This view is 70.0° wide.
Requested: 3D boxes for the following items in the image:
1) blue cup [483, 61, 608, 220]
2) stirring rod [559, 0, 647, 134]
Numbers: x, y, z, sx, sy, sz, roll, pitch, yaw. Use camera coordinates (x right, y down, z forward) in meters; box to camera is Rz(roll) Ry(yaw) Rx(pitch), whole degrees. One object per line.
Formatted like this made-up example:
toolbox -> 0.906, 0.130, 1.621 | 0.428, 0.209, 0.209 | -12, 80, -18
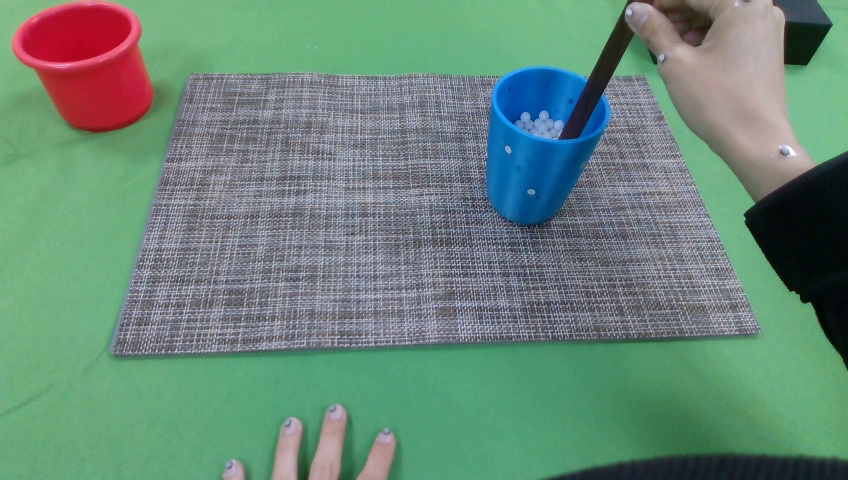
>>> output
blue cup -> 0.084, -0.069, 0.465 | 0.093, 0.101, 0.091 | 3, 52, -3
stirring rod -> 0.123, -0.128, 0.399 | 0.014, 0.177, 0.006 | 26, 49, 5
